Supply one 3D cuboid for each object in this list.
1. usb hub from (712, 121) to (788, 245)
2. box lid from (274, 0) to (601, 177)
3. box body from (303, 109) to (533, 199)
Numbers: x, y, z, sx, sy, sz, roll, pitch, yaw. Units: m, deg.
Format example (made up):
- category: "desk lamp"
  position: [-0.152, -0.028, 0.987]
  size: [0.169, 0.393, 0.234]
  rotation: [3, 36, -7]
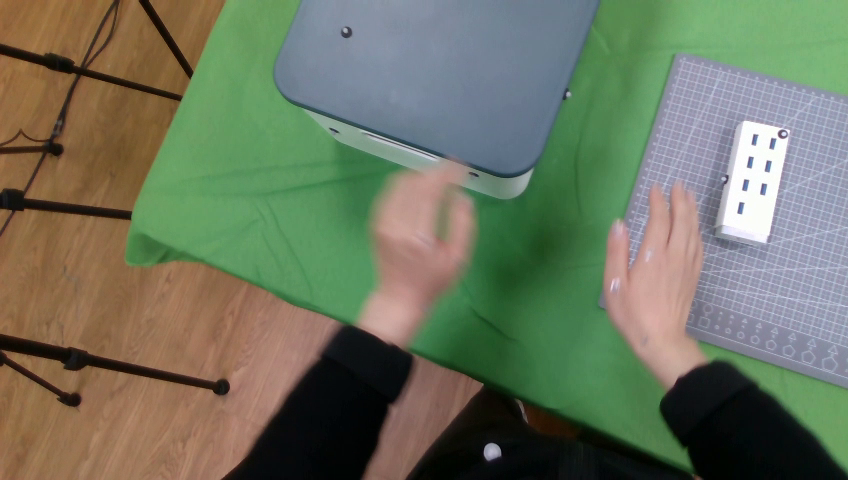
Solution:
- category: "usb hub"
  position: [0.344, -0.060, 0.639]
  size: [0.049, 0.025, 0.125]
  rotation: [14, 84, 8]
- category: "box lid"
  position: [0.037, -0.259, 0.562]
  size: [0.262, 0.015, 0.371]
  rotation: [20, 85, 9]
- category: "box body"
  position: [0.046, -0.249, 0.634]
  size: [0.253, 0.161, 0.363]
  rotation: [20, 85, 9]
